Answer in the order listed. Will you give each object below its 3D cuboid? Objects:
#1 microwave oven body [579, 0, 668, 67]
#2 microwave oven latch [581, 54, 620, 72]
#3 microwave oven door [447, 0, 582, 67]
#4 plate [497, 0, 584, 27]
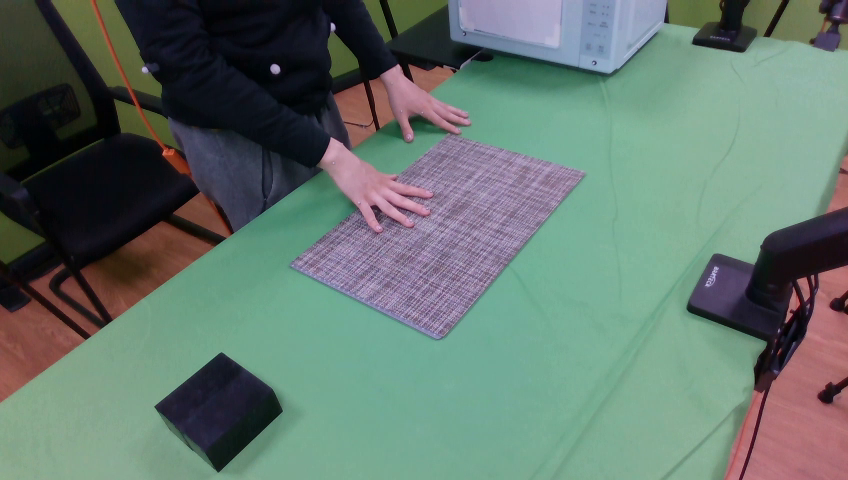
[{"bbox_3d":[0.325,-0.609,1.437,0.438,0.261,0.327,23,50,30],"label":"microwave oven body"},{"bbox_3d":[0.386,-0.393,1.330,0.078,0.029,0.030,24,51,32],"label":"microwave oven latch"},{"bbox_3d":[0.203,-0.544,1.372,0.353,0.245,0.039,23,49,29],"label":"microwave oven door"},{"bbox_3d":[0.286,-0.572,1.488,0.209,0.038,0.208,-5,42,5],"label":"plate"}]
